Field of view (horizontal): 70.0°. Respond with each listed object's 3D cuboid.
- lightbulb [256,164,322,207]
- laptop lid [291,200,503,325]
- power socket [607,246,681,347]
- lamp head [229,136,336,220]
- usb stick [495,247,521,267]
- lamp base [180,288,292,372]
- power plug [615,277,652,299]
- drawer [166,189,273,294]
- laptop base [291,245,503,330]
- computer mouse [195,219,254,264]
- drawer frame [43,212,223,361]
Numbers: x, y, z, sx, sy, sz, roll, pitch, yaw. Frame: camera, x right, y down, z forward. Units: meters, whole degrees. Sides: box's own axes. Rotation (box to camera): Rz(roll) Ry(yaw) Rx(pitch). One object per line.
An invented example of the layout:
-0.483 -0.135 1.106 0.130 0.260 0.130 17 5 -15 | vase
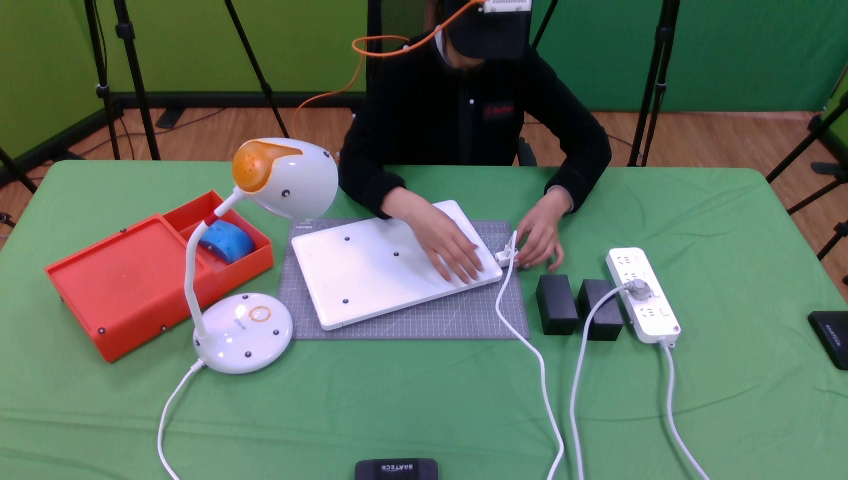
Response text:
-0.181 -0.077 0.810 0.059 0.059 0.108 36 12 28 | lightbulb
-0.055 0.029 1.150 0.357 0.013 0.240 -13 46 -16 | laptop lid
0.403 0.096 1.123 0.072 0.033 0.225 -3 47 -5 | power socket
-0.196 -0.085 0.791 0.112 0.112 0.123 36 14 27 | lamp head
0.153 0.035 1.157 0.059 0.027 0.021 -16 54 -13 | usb stick
-0.309 0.108 0.959 0.160 0.181 0.179 29 55 22 | lamp base
0.375 0.088 1.096 0.072 0.053 0.035 6 46 2 | power plug
-0.419 0.022 1.108 0.193 0.073 0.211 37 55 27 | drawer
-0.054 0.039 1.157 0.355 0.023 0.234 -15 46 -17 | laptop base
-0.380 -0.003 1.152 0.116 0.041 0.062 28 53 28 | computer mouse
-0.497 0.073 1.049 0.213 0.083 0.200 -34 57 -31 | drawer frame
